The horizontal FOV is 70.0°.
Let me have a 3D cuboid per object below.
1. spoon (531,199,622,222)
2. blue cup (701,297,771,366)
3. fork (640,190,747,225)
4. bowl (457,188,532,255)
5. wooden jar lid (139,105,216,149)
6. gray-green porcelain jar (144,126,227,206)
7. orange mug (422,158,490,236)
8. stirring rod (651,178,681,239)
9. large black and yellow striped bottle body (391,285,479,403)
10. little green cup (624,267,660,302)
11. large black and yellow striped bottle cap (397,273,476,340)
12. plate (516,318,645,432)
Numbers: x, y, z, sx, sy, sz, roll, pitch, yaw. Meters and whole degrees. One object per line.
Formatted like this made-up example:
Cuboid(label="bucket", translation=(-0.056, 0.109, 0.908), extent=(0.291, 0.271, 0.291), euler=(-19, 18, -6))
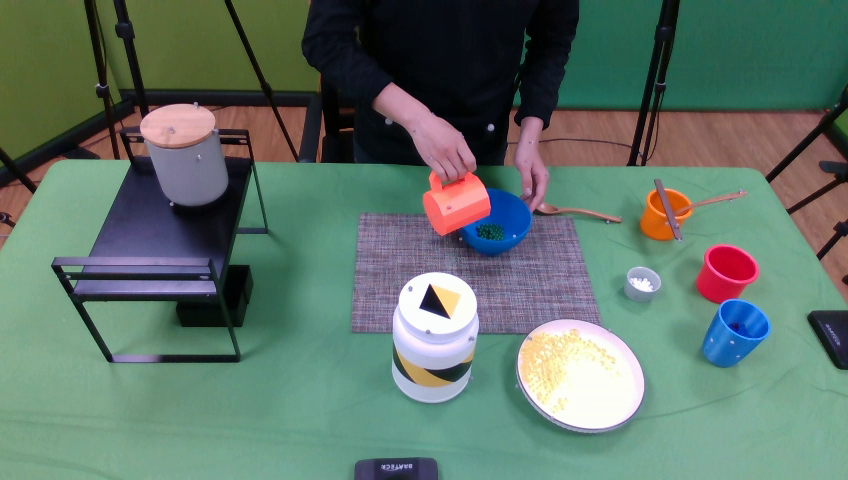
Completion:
Cuboid(label="spoon", translation=(0.321, -0.060, 1.279), extent=(0.194, 0.022, 0.041), euler=(8, 32, 4))
Cuboid(label="blue cup", translation=(0.519, 0.162, 1.025), extent=(0.093, 0.101, 0.092), euler=(3, 45, -3))
Cuboid(label="fork", translation=(0.533, -0.065, 1.211), extent=(0.207, 0.019, 0.028), euler=(-22, 28, 39))
Cuboid(label="bowl", translation=(0.130, -0.024, 1.186), extent=(0.151, 0.077, 0.150), euler=(2, 45, -2))
Cuboid(label="wooden jar lid", translation=(-0.372, -0.169, 0.920), extent=(0.108, 0.021, 0.107), euler=(4, 44, -4))
Cuboid(label="gray-green porcelain jar", translation=(-0.375, -0.125, 0.967), extent=(0.106, 0.127, 0.105), euler=(2, 46, -2))
Cuboid(label="orange mug", translation=(0.055, -0.081, 1.100), extent=(0.101, 0.127, 0.083), euler=(-21, 29, -19))
Cuboid(label="stirring rod", translation=(0.479, -0.065, 1.204), extent=(0.014, 0.006, 0.175), euler=(3, 46, -4))
Cuboid(label="large black and yellow striped bottle body", translation=(0.015, 0.153, 0.938), extent=(0.131, 0.185, 0.130), euler=(2, 46, -2))
Cuboid(label="little green cup", translation=(0.406, 0.084, 1.135), extent=(0.061, 0.039, 0.061), euler=(3, 45, -3))
Cuboid(label="large black and yellow striped bottle cap", translation=(0.018, 0.094, 0.878), extent=(0.115, 0.019, 0.114), euler=(3, 46, -3))
Cuboid(label="plate", translation=(0.253, 0.221, 0.992), extent=(0.209, 0.038, 0.208), euler=(2, 46, -2))
